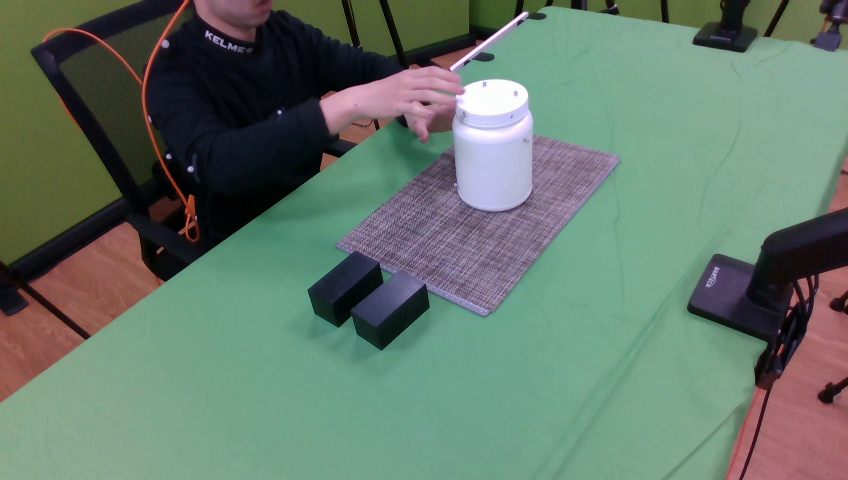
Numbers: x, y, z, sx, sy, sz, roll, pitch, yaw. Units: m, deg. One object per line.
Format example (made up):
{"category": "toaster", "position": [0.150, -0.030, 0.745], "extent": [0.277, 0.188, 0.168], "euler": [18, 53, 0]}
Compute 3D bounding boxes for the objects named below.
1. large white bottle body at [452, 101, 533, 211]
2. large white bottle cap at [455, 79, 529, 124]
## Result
{"category": "large white bottle body", "position": [0.115, -0.155, 1.001], "extent": [0.130, 0.185, 0.130], "euler": [-5, 41, 4]}
{"category": "large white bottle cap", "position": [0.106, -0.218, 0.945], "extent": [0.115, 0.018, 0.114], "euler": [-4, 41, 4]}
